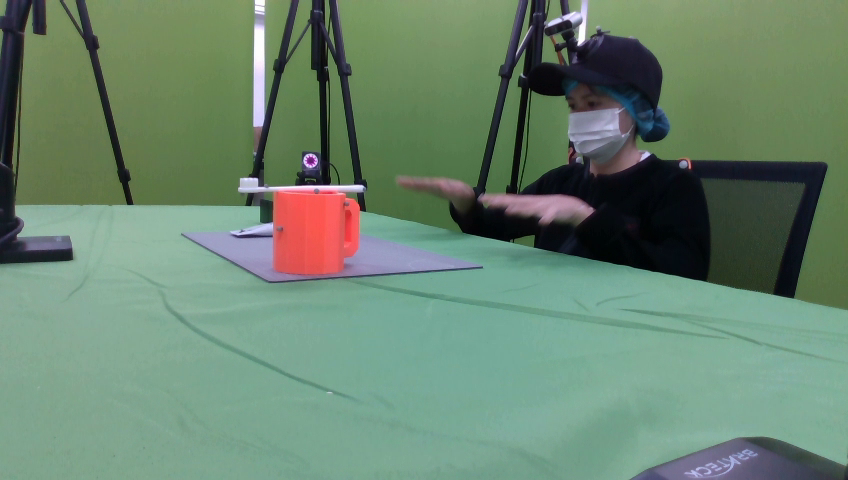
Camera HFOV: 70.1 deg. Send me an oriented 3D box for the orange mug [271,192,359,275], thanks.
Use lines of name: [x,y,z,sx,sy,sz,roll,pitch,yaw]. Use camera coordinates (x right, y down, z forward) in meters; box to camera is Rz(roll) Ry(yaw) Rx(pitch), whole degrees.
orange mug: [-0.131,-0.013,0.754,0.083,0.101,0.127,8,13,38]

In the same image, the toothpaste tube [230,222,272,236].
toothpaste tube: [-0.250,-0.021,1.056,0.166,0.034,0.055,-6,5,-32]

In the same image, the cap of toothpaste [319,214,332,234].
cap of toothpaste: [-0.180,-0.029,1.097,0.011,0.037,0.037,-3,9,-40]

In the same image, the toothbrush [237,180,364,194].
toothbrush: [-0.144,-0.064,0.737,0.014,0.016,0.183,4,6,43]
